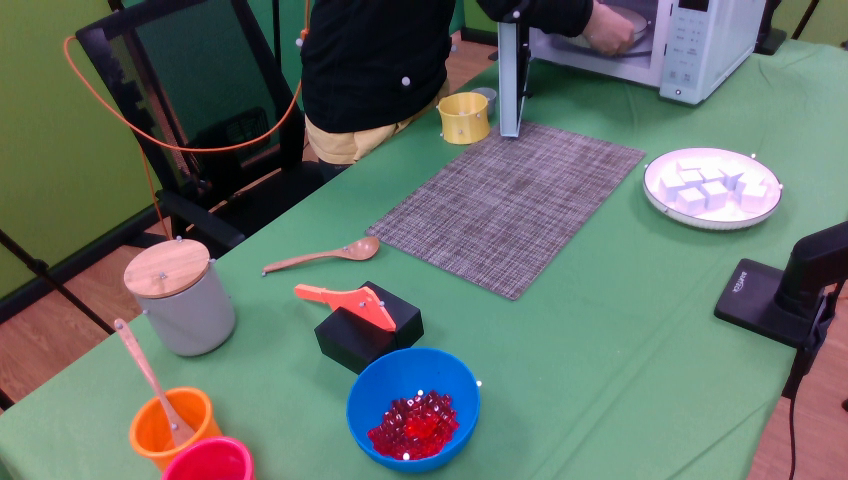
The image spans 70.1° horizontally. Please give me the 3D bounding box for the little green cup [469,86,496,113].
[{"bbox_3d":[0.123,-0.298,1.285,0.061,0.039,0.061,-4,41,4],"label":"little green cup"}]

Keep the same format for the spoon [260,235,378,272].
[{"bbox_3d":[-0.168,0.024,0.966,0.194,0.022,0.041,-10,59,-3],"label":"spoon"}]

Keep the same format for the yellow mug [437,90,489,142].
[{"bbox_3d":[0.069,-0.257,1.224,0.100,0.064,0.129,-33,44,-27],"label":"yellow mug"}]

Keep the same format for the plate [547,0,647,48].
[{"bbox_3d":[0.370,-0.464,1.305,0.209,0.038,0.208,-2,41,2],"label":"plate"}]

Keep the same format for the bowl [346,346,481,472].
[{"bbox_3d":[-0.008,0.205,0.691,0.151,0.077,0.150,-4,40,4],"label":"bowl"}]

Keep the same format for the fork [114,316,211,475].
[{"bbox_3d":[-0.309,0.180,0.708,0.028,0.018,0.207,-29,89,-24],"label":"fork"}]

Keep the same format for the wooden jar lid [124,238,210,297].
[{"bbox_3d":[-0.335,0.039,0.794,0.108,0.021,0.108,-2,40,2],"label":"wooden jar lid"}]

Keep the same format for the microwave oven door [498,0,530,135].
[{"bbox_3d":[0.185,-0.411,1.225,0.039,0.245,0.355,3,42,12],"label":"microwave oven door"}]

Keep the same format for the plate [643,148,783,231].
[{"bbox_3d":[0.465,-0.080,0.985,0.207,0.039,0.206,-4,40,4],"label":"plate"}]

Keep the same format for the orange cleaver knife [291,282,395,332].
[{"bbox_3d":[-0.116,0.091,0.835,0.209,0.077,0.012,1,32,47],"label":"orange cleaver knife"}]

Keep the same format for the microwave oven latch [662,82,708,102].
[{"bbox_3d":[0.518,-0.298,1.202,0.078,0.029,0.030,28,53,35],"label":"microwave oven latch"}]

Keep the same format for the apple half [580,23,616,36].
[{"bbox_3d":[0.358,-0.436,1.265,0.081,0.033,0.081,-7,26,4],"label":"apple half"}]

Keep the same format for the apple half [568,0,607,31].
[{"bbox_3d":[0.357,-0.495,1.321,0.081,0.053,0.074,-29,37,-26],"label":"apple half"}]

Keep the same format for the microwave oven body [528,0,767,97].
[{"bbox_3d":[0.474,-0.516,1.313,0.438,0.261,0.327,26,51,34],"label":"microwave oven body"}]

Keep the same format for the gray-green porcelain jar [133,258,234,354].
[{"bbox_3d":[-0.328,0.087,0.836,0.106,0.127,0.105,-4,41,4],"label":"gray-green porcelain jar"}]
